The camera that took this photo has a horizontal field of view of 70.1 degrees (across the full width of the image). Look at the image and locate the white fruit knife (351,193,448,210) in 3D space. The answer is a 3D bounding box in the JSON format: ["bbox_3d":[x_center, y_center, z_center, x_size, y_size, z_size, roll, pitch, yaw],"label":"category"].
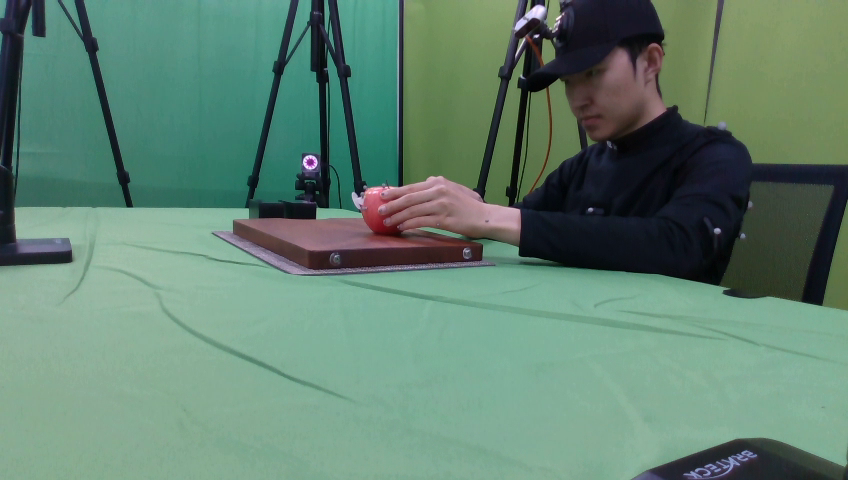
[{"bbox_3d":[-0.034,-0.064,0.985,0.208,0.027,0.016,-2,10,-44],"label":"white fruit knife"}]

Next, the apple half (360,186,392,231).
[{"bbox_3d":[-0.077,-0.051,0.967,0.082,0.081,0.032,-5,12,-45],"label":"apple half"}]

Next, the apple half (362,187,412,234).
[{"bbox_3d":[-0.050,-0.045,0.940,0.053,0.074,0.081,15,10,43],"label":"apple half"}]
